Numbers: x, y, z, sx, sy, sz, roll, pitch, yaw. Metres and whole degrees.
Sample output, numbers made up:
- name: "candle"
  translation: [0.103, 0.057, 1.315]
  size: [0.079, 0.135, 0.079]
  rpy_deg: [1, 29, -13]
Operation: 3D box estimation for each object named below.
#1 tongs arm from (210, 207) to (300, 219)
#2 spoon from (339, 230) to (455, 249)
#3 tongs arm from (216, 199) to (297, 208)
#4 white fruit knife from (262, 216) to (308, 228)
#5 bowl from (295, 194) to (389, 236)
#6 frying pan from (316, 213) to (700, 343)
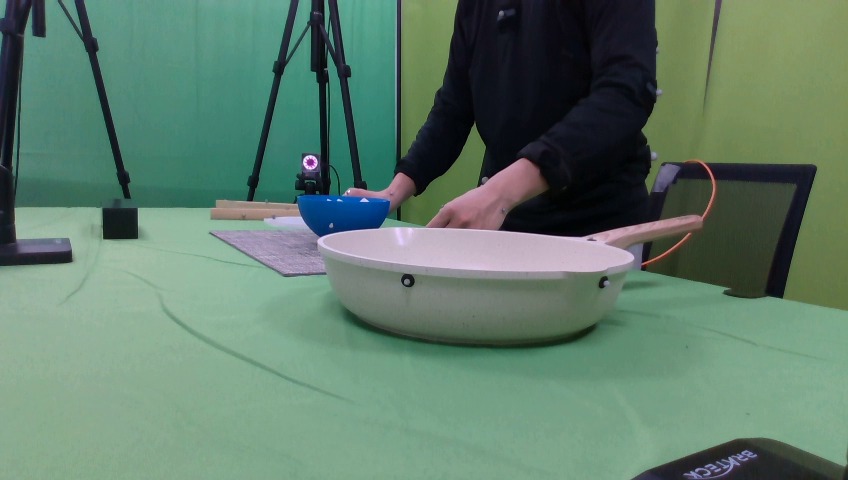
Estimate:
- name: "tongs arm"
  translation: [-0.287, -0.061, 1.392]
  size: [0.389, 0.028, 0.028]
  rpy_deg: [0, 5, -23]
- name: "spoon"
  translation: [-0.033, -0.004, 0.874]
  size: [0.195, 0.021, 0.041]
  rpy_deg: [-8, -2, -34]
- name: "tongs arm"
  translation: [-0.307, -0.076, 1.469]
  size: [0.386, 0.026, 0.050]
  rpy_deg: [2, 8, -10]
- name: "white fruit knife"
  translation: [-0.190, -0.035, 1.104]
  size: [0.208, 0.027, 0.016]
  rpy_deg: [-1, -3, -30]
- name: "bowl"
  translation: [-0.132, -0.032, 0.980]
  size: [0.151, 0.077, 0.151]
  rpy_deg: [2, 7, 0]
- name: "frying pan"
  translation: [0.133, 0.013, 0.629]
  size: [0.490, 0.102, 0.305]
  rpy_deg: [-12, 14, -30]
